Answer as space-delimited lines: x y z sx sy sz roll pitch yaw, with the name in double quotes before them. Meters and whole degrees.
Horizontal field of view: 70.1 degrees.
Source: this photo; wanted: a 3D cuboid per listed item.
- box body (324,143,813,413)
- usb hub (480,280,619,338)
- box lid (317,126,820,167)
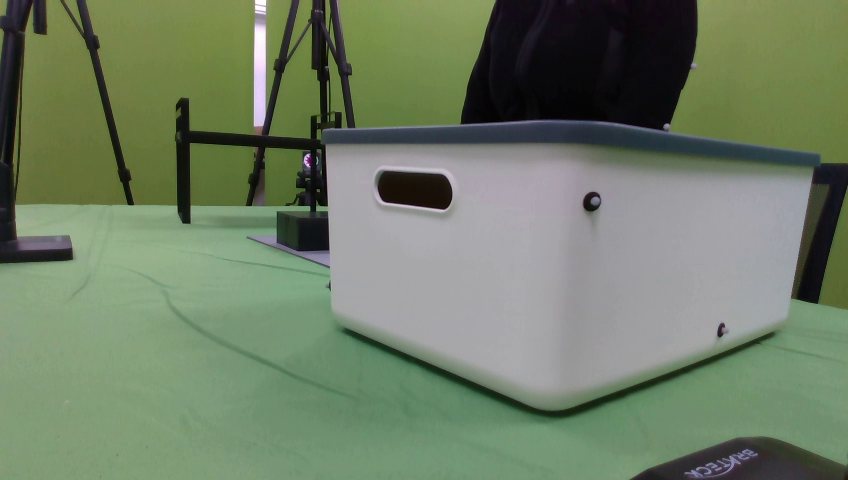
"box body" 0.125 0.000 0.510 0.366 0.160 0.253 -4 9 -40
"usb hub" 0.111 0.057 0.525 0.126 0.025 0.049 -5 13 -35
"box lid" 0.129 -0.073 0.502 0.374 0.015 0.262 -4 10 -40
